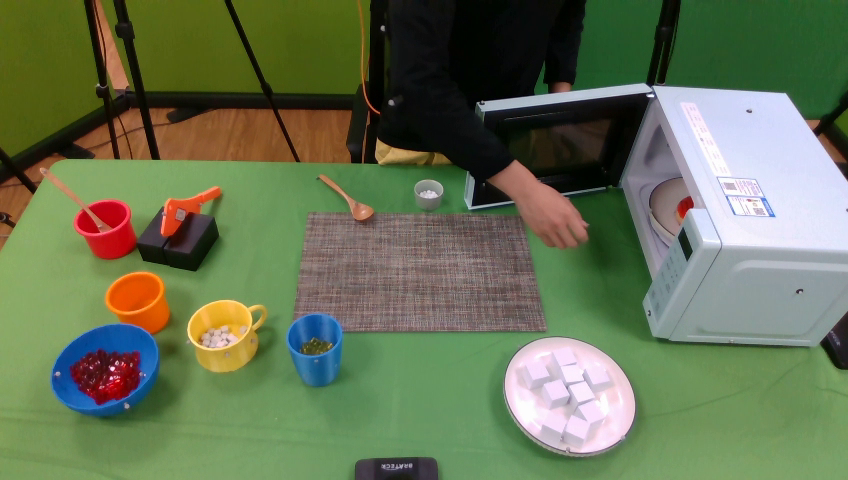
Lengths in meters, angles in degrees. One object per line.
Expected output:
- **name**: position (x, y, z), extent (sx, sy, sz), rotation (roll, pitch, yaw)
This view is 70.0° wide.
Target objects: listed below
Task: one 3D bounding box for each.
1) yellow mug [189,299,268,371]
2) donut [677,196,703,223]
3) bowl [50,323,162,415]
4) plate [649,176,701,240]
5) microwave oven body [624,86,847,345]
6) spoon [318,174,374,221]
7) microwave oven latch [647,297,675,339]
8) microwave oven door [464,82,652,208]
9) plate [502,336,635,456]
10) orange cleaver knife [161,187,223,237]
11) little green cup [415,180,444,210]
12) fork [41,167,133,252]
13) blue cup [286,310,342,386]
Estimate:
- **yellow mug**: position (-0.316, 0.148, 1.002), extent (0.131, 0.064, 0.099), rotation (-32, 56, -31)
- **donut**: position (0.538, -0.047, 1.169), extent (0.099, 0.048, 0.098), rotation (5, 42, -4)
- **bowl**: position (-0.472, 0.209, 0.924), extent (0.151, 0.077, 0.150), rotation (2, 45, -2)
- **plate**: position (0.543, -0.044, 1.180), extent (0.209, 0.038, 0.208), rotation (1, 46, -1)
- **microwave oven body**: position (0.568, -0.053, 1.118), extent (0.326, 0.261, 0.439), rotation (2, 45, -1)
- **spoon**: position (-0.168, -0.094, 1.274), extent (0.041, 0.022, 0.192), rotation (-39, 57, -14)
- **microwave oven latch**: position (0.413, 0.134, 1.061), extent (0.030, 0.029, 0.078), rotation (5, 45, 2)
- **microwave oven door**: position (0.264, -0.189, 1.221), extent (0.356, 0.245, 0.039), rotation (-9, 48, -13)
- **plate**: position (0.225, 0.248, 0.963), extent (0.208, 0.039, 0.206), rotation (2, 46, -2)
- **orange cleaver knife**: position (-0.448, -0.058, 1.181), extent (0.012, 0.077, 0.211), rotation (13, 17, 6)
- **little green cup**: position (0.010, -0.094, 1.278), extent (0.061, 0.039, 0.061), rotation (3, 48, -3)
- **fork**: position (-0.624, -0.055, 1.121), extent (0.208, 0.018, 0.028), rotation (50, 51, -15)
- **blue cup**: position (-0.169, 0.179, 0.958), extent (0.093, 0.101, 0.092), rotation (1, 44, -1)
